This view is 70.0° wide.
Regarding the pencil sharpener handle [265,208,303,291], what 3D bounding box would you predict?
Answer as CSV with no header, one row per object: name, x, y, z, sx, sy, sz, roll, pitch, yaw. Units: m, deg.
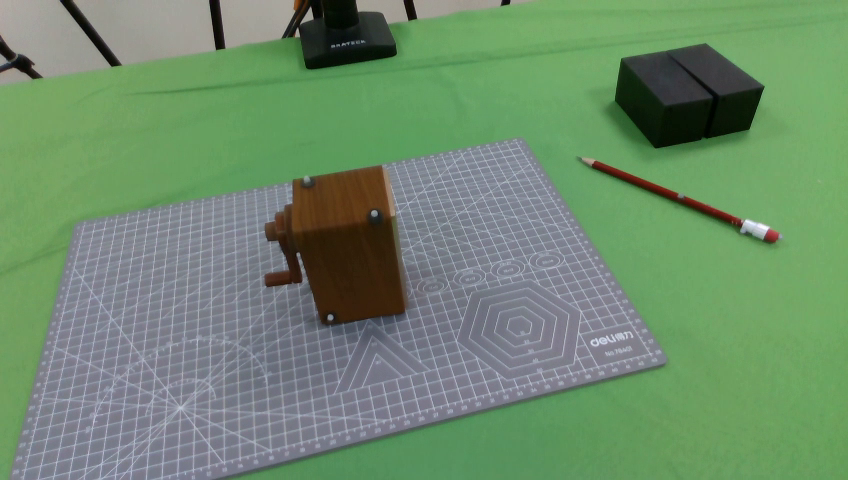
pencil sharpener handle,-0.107,0.010,0.442,0.031,0.068,0.035,-9,37,-4

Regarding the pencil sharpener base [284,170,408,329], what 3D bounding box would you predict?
pencil sharpener base,-0.056,0.010,0.455,0.077,0.108,0.060,-9,44,-4

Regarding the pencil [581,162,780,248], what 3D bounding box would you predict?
pencil,0.227,-0.038,0.557,0.192,0.012,0.012,31,54,33
